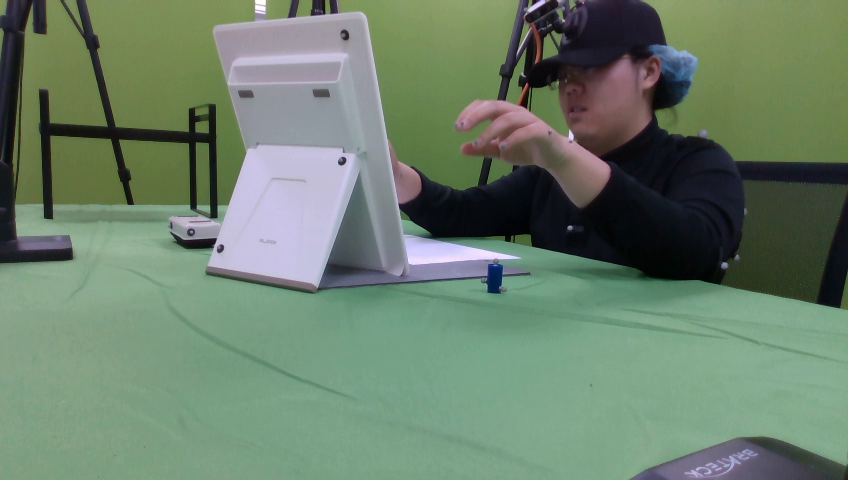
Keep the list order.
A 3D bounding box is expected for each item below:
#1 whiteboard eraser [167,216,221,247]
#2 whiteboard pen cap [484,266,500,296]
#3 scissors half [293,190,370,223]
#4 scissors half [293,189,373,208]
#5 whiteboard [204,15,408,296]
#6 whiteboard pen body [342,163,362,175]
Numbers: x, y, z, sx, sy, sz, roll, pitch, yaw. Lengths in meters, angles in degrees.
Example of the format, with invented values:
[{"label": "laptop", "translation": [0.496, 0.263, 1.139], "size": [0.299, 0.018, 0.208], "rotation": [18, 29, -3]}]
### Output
[{"label": "whiteboard eraser", "translation": [-0.350, -0.013, 0.920], "size": [0.056, 0.042, 0.112], "rotation": [0, 7, -35]}, {"label": "whiteboard pen cap", "translation": [0.075, 0.046, 0.668], "size": [0.018, 0.033, 0.018], "rotation": [2, 5, 0]}, {"label": "scissors half", "translation": [-0.205, -0.077, 1.338], "size": [0.175, 0.040, 0.013], "rotation": [22, 11, -8]}, {"label": "scissors half", "translation": [-0.201, -0.096, 1.333], "size": [0.175, 0.040, 0.013], "rotation": [5, 18, -4]}, {"label": "whiteboard", "translation": [-0.166, -0.072, 0.669], "size": [0.216, 0.305, 0.144], "rotation": [8, 30, 30]}, {"label": "whiteboard pen body", "translation": [-0.111, -0.111, 0.942], "size": [0.017, 0.017, 0.140], "rotation": [1, 4, -16]}]
